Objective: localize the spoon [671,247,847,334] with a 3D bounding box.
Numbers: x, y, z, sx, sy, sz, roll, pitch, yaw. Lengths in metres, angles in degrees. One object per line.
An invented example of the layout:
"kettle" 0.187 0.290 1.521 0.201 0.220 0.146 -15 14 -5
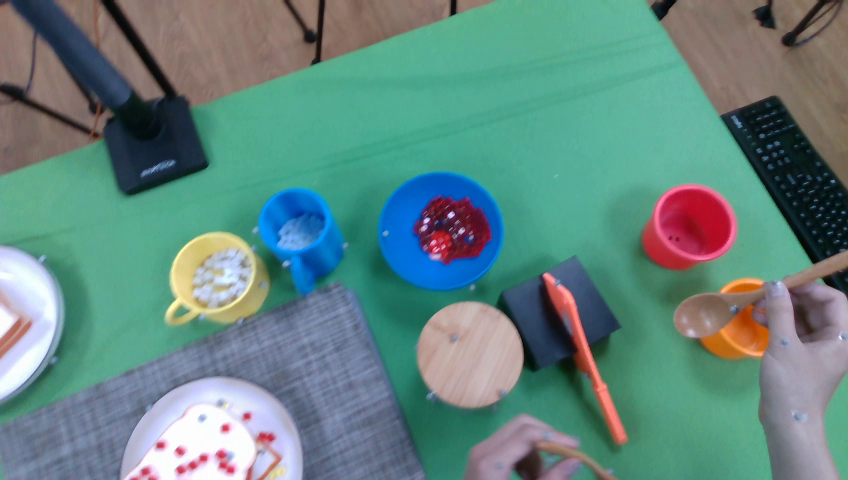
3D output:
"spoon" 0.317 0.041 0.549 0.022 0.193 0.041 -16 77 -50

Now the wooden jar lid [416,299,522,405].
"wooden jar lid" 0.046 0.115 0.622 0.108 0.021 0.108 1 74 -2

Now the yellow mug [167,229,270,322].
"yellow mug" -0.259 0.054 0.742 0.131 0.064 0.099 -43 76 -10

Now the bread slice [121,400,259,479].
"bread slice" -0.241 0.238 0.633 0.107 0.018 0.134 31 69 4

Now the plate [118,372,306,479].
"plate" -0.236 0.256 0.689 0.209 0.038 0.208 0 72 1

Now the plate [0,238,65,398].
"plate" -0.542 0.101 0.745 0.208 0.039 0.206 0 73 0

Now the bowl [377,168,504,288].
"bowl" 0.021 -0.006 0.752 0.151 0.077 0.150 0 73 1

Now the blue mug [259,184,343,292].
"blue mug" -0.147 0.005 0.736 0.082 0.106 0.116 -3 72 0

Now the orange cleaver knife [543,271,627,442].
"orange cleaver knife" 0.185 0.134 0.703 0.012 0.077 0.212 -24 100 -7

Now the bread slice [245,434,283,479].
"bread slice" -0.241 0.269 0.689 0.104 0.019 0.131 32 72 11

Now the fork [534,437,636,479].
"fork" 0.146 0.198 0.534 0.028 0.209 0.018 -16 52 31

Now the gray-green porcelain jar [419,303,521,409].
"gray-green porcelain jar" 0.048 0.135 0.682 0.106 0.127 0.105 0 72 0
